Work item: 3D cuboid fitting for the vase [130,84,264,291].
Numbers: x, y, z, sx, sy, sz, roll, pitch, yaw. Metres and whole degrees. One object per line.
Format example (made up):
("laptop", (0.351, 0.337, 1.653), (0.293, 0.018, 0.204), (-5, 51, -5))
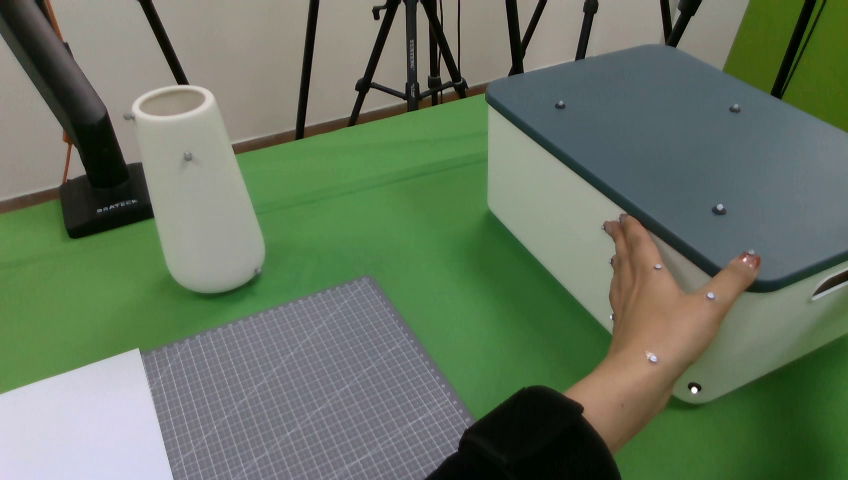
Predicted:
("vase", (-0.220, -0.046, 0.591), (0.098, 0.202, 0.097), (-1, 38, 1))

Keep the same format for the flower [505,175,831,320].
("flower", (0.254, 0.006, 0.670), (0.359, 0.038, 0.044), (26, 41, 22))

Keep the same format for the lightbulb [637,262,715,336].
("lightbulb", (0.235, 0.050, 0.583), (0.059, 0.060, 0.107), (-3, 22, -4))

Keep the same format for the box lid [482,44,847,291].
("box lid", (0.250, -0.098, 0.570), (0.264, 0.015, 0.367), (-18, 42, -20))

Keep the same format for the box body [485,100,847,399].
("box body", (0.250, -0.041, 0.619), (0.255, 0.162, 0.359), (-18, 42, -20))
